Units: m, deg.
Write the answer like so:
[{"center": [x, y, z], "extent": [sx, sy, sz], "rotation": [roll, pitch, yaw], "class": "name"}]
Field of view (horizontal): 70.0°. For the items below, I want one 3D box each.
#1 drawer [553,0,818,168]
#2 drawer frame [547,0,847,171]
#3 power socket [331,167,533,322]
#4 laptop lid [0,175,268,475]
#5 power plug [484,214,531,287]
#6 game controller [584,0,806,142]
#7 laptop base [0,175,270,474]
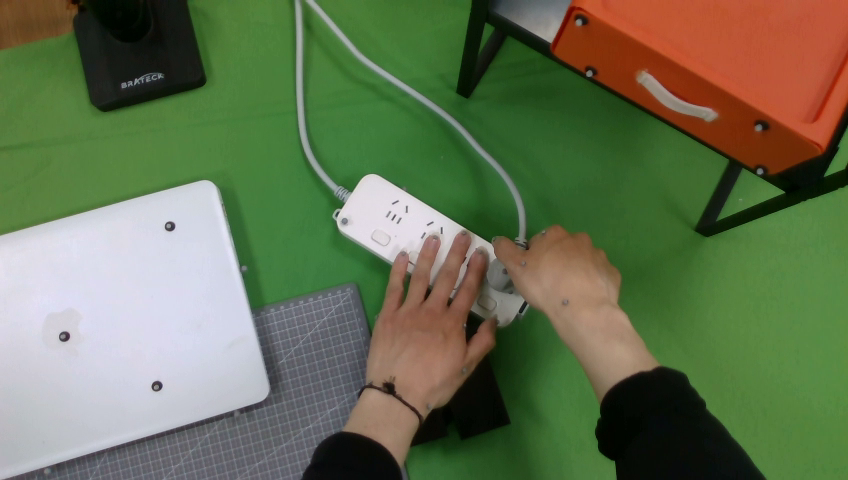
[{"center": [0.235, -0.193, 0.458], "extent": [0.194, 0.073, 0.211], "rotation": [30, 82, 2], "class": "drawer"}, {"center": [0.234, -0.196, 0.457], "extent": [0.201, 0.083, 0.213], "rotation": [30, 82, 2], "class": "drawer frame"}, {"center": [0.010, 0.005, 0.627], "extent": [0.226, 0.032, 0.072], "rotation": [32, 82, 3], "class": "power socket"}, {"center": [-0.353, 0.090, 0.598], "extent": [0.357, 0.013, 0.241], "rotation": [-15, 84, -4], "class": "laptop lid"}, {"center": [0.090, 0.015, 0.604], "extent": [0.035, 0.053, 0.072], "rotation": [42, 84, 5], "class": "power plug"}, {"center": [0.213, -0.155, 0.466], "extent": [0.155, 0.052, 0.097], "rotation": [34, 86, 5], "class": "game controller"}, {"center": [-0.353, 0.089, 0.610], "extent": [0.354, 0.023, 0.235], "rotation": [-16, 86, -4], "class": "laptop base"}]
